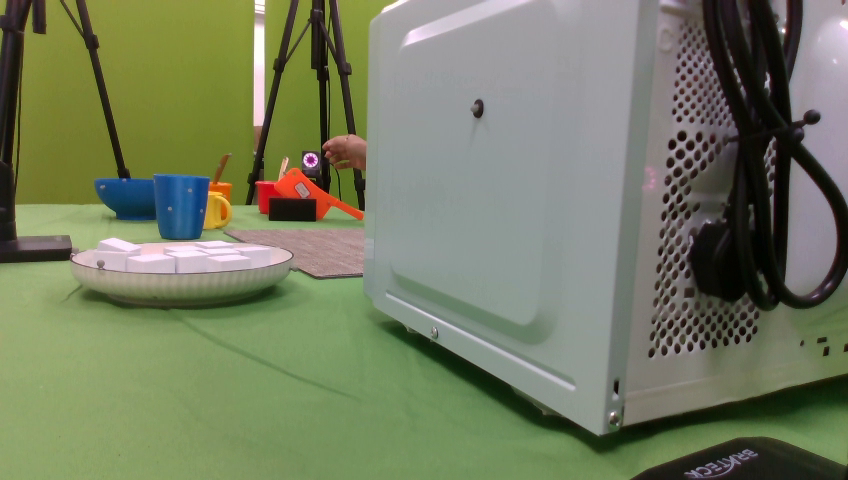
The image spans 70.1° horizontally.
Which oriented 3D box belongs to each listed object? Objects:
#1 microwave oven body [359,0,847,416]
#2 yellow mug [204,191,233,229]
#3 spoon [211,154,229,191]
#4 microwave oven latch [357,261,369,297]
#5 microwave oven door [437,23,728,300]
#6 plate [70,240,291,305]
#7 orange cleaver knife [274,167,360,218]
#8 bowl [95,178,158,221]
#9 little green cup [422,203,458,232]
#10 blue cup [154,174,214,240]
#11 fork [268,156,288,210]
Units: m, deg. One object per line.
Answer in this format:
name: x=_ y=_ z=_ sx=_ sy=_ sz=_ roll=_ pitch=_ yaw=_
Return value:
microwave oven body: x=0.211 y=-0.047 z=0.474 sx=0.444 sy=0.260 sz=0.324 roll=-1 pitch=7 yaw=-28
yellow mug: x=-0.415 y=-0.057 z=1.132 sx=0.130 sy=0.064 sz=0.100 roll=6 pitch=8 yaw=16
spoon: x=-0.431 y=-0.115 z=1.253 sx=0.042 sy=0.193 sz=0.021 roll=-3 pitch=54 yaw=-33
microwave oven latch: x=-0.019 y=0.033 z=0.531 sx=0.079 sy=0.029 sz=0.030 roll=-1 pitch=7 yaw=-27
microwave oven door: x=0.181 y=-0.072 z=0.621 sx=0.358 sy=0.243 sz=0.039 roll=-2 pitch=8 yaw=-29
plate: x=-0.242 y=0.031 z=0.618 sx=0.208 sy=0.039 sz=0.207 roll=2 pitch=8 yaw=0
orange cleaver knife: x=-0.238 y=-0.091 z=1.381 sx=0.212 sy=0.077 sz=0.012 roll=31 pitch=2 yaw=-19
bowl: x=-0.576 y=-0.081 z=1.217 sx=0.151 sy=0.077 sz=0.151 roll=3 pitch=8 yaw=0
little green cup: x=0.026 y=-0.037 z=1.001 sx=0.061 sy=0.038 sz=0.061 roll=2 pitch=13 yaw=0
blue cup: x=-0.390 y=-0.053 z=0.978 sx=0.093 sy=0.100 sz=0.092 roll=3 pitch=6 yaw=0
fork: x=-0.360 y=-0.144 z=1.508 sx=0.028 sy=0.018 sz=0.207 roll=1 pitch=49 yaw=0
